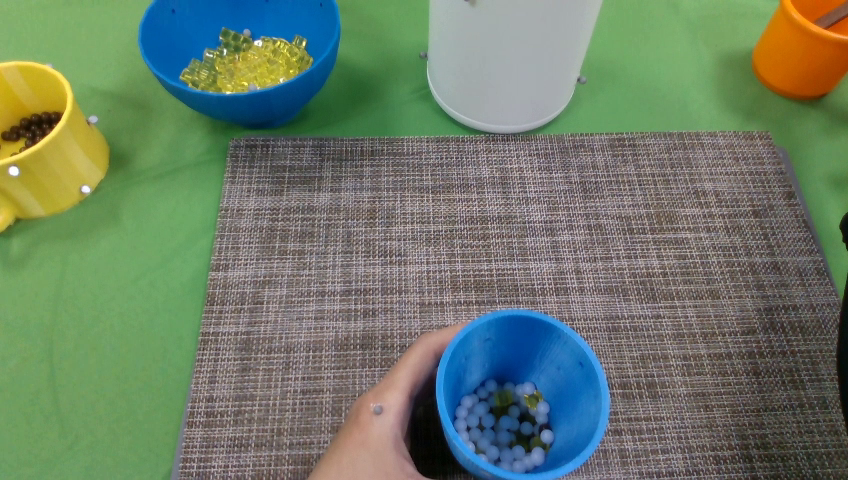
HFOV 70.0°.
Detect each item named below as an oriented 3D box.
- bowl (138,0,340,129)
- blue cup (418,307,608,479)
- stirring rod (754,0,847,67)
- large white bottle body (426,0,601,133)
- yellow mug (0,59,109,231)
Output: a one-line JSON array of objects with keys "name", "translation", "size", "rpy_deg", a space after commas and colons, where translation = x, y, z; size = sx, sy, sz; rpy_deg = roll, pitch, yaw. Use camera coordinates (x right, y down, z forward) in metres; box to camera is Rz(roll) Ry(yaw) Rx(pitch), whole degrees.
[{"name": "bowl", "translation": [-0.139, -0.144, 0.489], "size": [0.151, 0.077, 0.150], "rpy_deg": [1, 60, -1]}, {"name": "blue cup", "translation": [0.045, 0.096, 0.338], "size": [0.093, 0.101, 0.092], "rpy_deg": [1, 61, -2]}, {"name": "stirring rod", "translation": [0.362, -0.198, 0.499], "size": [0.176, 0.006, 0.014], "rpy_deg": [-32, 46, 31]}, {"name": "large white bottle body", "translation": [0.067, -0.187, 0.458], "size": [0.131, 0.186, 0.129], "rpy_deg": [1, 60, -1]}, {"name": "yellow mug", "translation": [-0.302, -0.062, 0.442], "size": [0.100, 0.064, 0.130], "rpy_deg": [10, 61, 4]}]
